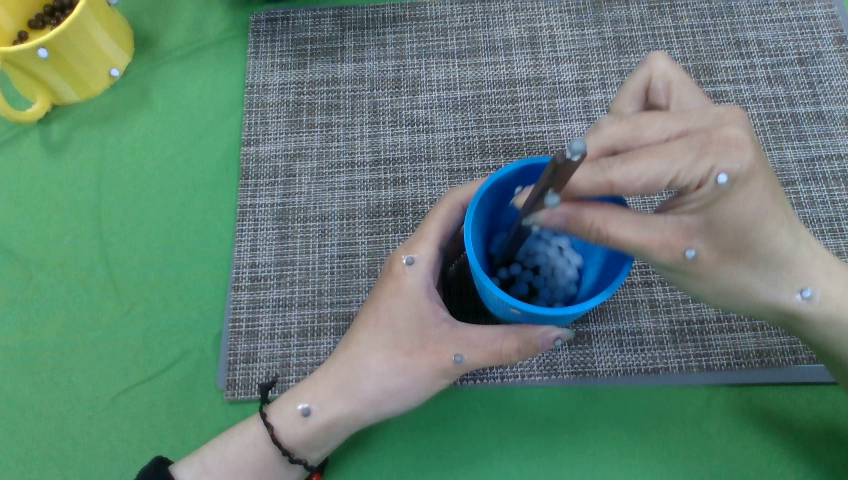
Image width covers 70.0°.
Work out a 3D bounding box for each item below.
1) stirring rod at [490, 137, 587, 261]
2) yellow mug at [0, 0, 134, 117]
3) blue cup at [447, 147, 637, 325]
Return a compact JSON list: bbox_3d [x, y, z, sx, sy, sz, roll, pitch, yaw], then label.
[{"bbox_3d":[0.050,-0.012,0.301,0.014,0.177,0.006,-26,78,-8],"label":"stirring rod"},{"bbox_3d":[-0.284,-0.152,0.446,0.100,0.064,0.130,8,71,6],"label":"yellow mug"},{"bbox_3d":[0.064,0.009,0.345,0.092,0.101,0.092,-1,71,3],"label":"blue cup"}]
